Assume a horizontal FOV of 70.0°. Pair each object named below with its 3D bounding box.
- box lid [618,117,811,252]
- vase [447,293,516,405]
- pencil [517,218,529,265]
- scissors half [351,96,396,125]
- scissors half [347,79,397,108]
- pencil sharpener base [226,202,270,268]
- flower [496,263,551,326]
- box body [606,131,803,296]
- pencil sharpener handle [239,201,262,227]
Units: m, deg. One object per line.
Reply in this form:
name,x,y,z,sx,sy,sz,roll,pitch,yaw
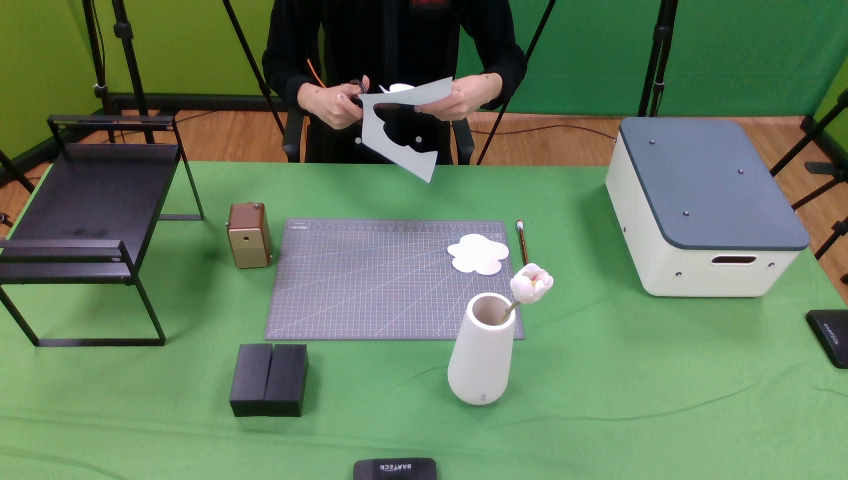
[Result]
box lid,0.534,-0.117,1.149,0.263,0.015,0.369,0,47,-3
vase,0.091,0.169,0.921,0.098,0.201,0.097,3,47,-3
pencil,0.201,0.028,1.197,0.012,0.012,0.193,1,48,-3
scissors half,-0.090,-0.236,1.086,0.013,0.040,0.175,-18,7,-28
scissors half,-0.094,-0.257,1.079,0.013,0.040,0.174,-23,35,-26
pencil sharpener base,-0.323,-0.010,1.123,0.061,0.107,0.076,-3,46,-7
flower,0.102,0.120,0.853,0.044,0.363,0.038,-2,64,-10
box body,0.530,-0.067,1.204,0.254,0.161,0.361,1,46,-4
pencil sharpener handle,-0.325,-0.056,1.150,0.036,0.068,0.030,-13,46,3
